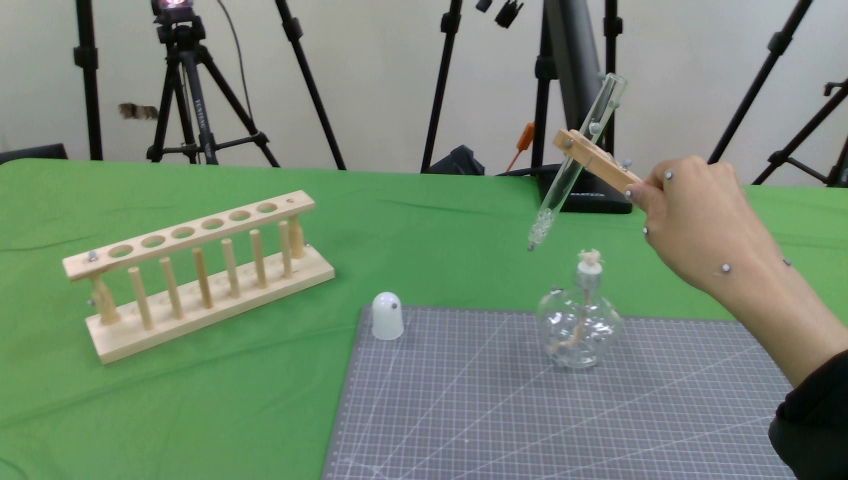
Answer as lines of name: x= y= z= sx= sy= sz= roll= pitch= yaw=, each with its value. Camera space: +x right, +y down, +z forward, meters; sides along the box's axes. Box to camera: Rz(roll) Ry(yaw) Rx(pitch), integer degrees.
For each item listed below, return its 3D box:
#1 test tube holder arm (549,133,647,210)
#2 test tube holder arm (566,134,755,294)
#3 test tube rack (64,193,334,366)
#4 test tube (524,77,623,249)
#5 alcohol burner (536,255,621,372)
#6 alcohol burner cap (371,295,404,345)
test tube holder arm: x=0.129 y=-0.052 z=0.451 sx=0.010 sy=0.015 sz=0.087 roll=-13 pitch=47 yaw=-45
test tube holder arm: x=0.158 y=-0.025 z=0.430 sx=0.013 sy=0.015 sz=0.176 roll=-6 pitch=42 yaw=-38
test tube rack: x=-0.218 y=0.032 z=0.623 sx=0.243 sy=0.086 sz=0.066 roll=-20 pitch=38 yaw=-29
test tube: x=0.114 y=-0.055 z=0.474 sx=0.017 sy=0.151 sz=0.017 roll=17 pitch=30 yaw=-9
alcohol burner: x=0.144 y=0.062 z=0.555 sx=0.078 sy=0.120 sz=0.077 roll=1 pitch=35 yaw=-1
alcohol burner cap: x=-0.037 y=0.075 z=0.596 sx=0.034 sy=0.048 sz=0.033 roll=1 pitch=34 yaw=-1
